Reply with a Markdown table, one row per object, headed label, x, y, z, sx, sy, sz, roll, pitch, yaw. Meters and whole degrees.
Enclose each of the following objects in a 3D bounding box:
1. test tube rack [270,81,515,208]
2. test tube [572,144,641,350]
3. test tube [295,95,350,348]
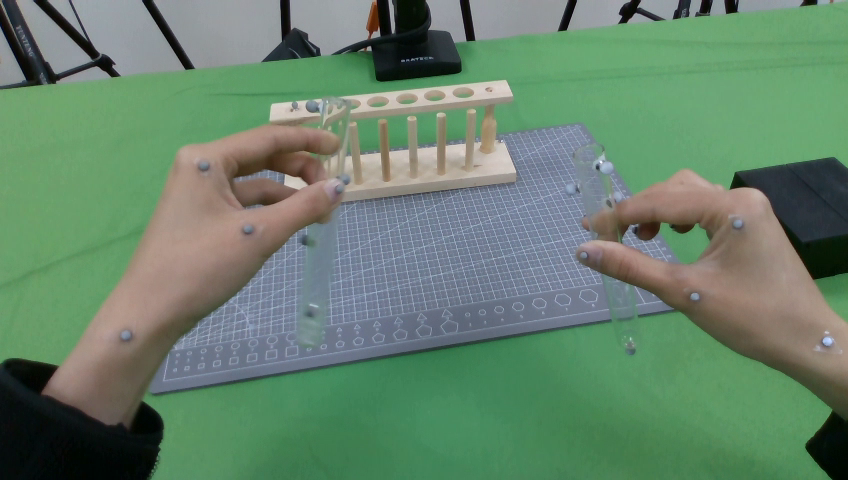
| label | x | y | z | sx | sy | sz | roll | pitch | yaw |
| --- | --- | --- | --- | --- | --- | --- | --- | --- | --- |
| test tube rack | -0.029 | -0.099 | 0.627 | 0.242 | 0.086 | 0.066 | -7 | 42 | -4 |
| test tube | 0.104 | 0.011 | 0.335 | 0.017 | 0.152 | 0.017 | -15 | 39 | 13 |
| test tube | -0.058 | -0.005 | 0.340 | 0.017 | 0.151 | 0.017 | 9 | 21 | -3 |
